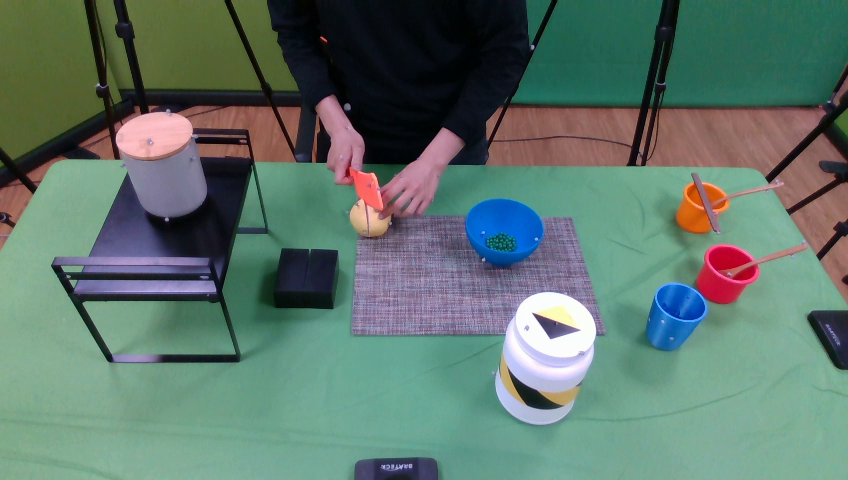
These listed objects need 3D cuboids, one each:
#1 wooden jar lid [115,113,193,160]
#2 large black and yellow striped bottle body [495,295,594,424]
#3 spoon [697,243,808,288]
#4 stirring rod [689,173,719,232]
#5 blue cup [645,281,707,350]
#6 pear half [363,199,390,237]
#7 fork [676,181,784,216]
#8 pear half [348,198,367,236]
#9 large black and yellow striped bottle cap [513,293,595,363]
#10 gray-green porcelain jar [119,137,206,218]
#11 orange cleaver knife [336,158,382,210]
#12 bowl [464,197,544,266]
[{"bbox_3d":[-0.399,-0.151,0.900,0.108,0.021,0.107,3,46,-3],"label":"wooden jar lid"},{"bbox_3d":[0.183,0.182,0.923,0.131,0.185,0.130,2,46,-2],"label":"large black and yellow striped bottle body"},{"bbox_3d":[0.601,0.045,1.115,0.194,0.022,0.041,-29,35,30],"label":"spoon"},{"bbox_3d":[0.566,-0.079,1.225,0.014,0.006,0.175,2,45,2],"label":"stirring rod"},{"bbox_3d":[0.425,0.136,1.042,0.093,0.101,0.092,1,44,-1],"label":"blue cup"},{"bbox_3d":[-0.094,-0.059,1.181,0.056,0.110,0.076,-14,53,-15],"label":"pear half"},{"bbox_3d":[0.618,-0.084,1.235,0.019,0.207,0.028,55,40,-15],"label":"fork"},{"bbox_3d":[-0.132,-0.045,1.178,0.031,0.088,0.070,-18,53,-15],"label":"pear half"},{"bbox_3d":[0.185,0.123,0.863,0.115,0.019,0.114,3,45,-3],"label":"large black and yellow striped bottle cap"},{"bbox_3d":[-0.403,-0.106,0.946,0.106,0.127,0.105,3,46,-2],"label":"gray-green porcelain jar"},{"bbox_3d":[-0.126,-0.110,1.157,0.012,0.077,0.210,-18,26,-22],"label":"orange cleaver knife"},{"bbox_3d":[0.149,-0.004,1.167,0.151,0.077,0.150,2,46,-2],"label":"bowl"}]
